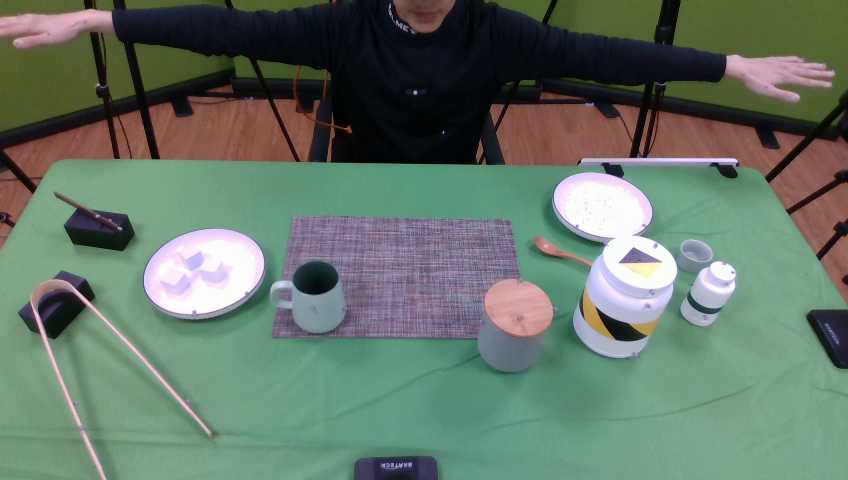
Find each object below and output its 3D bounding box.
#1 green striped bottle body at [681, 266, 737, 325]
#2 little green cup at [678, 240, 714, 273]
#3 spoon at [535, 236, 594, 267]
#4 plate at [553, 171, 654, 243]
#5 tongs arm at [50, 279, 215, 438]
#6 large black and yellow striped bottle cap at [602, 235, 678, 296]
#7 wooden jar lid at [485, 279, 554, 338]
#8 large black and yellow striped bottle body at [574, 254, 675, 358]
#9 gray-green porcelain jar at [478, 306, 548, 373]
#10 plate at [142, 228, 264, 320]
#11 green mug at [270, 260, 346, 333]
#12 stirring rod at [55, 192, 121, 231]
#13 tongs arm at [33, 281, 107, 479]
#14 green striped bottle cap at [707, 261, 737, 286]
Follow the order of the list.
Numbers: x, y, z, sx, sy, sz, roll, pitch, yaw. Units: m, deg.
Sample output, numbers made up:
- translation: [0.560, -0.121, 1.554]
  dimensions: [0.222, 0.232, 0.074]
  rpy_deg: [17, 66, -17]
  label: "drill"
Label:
- translation: [0.507, 0.093, 1.074]
  dimensions: [0.063, 0.120, 0.063]
  rpy_deg: [2, 46, -2]
  label: "green striped bottle body"
- translation: [0.530, 0.033, 1.190]
  dimensions: [0.061, 0.039, 0.061]
  rpy_deg: [2, 46, -1]
  label: "little green cup"
- translation: [0.303, 0.040, 1.178]
  dimensions: [0.193, 0.022, 0.041]
  rpy_deg: [25, 31, 19]
  label: "spoon"
- translation: [0.373, -0.066, 1.275]
  dimensions: [0.209, 0.038, 0.208]
  rpy_deg: [2, 46, -2]
  label: "plate"
- translation: [-0.459, 0.178, 0.949]
  dimensions: [0.386, 0.028, 0.028]
  rpy_deg: [37, 60, 17]
  label: "tongs arm"
- translation: [0.340, 0.037, 0.955]
  dimensions: [0.115, 0.019, 0.114]
  rpy_deg: [2, 47, -1]
  label: "large black and yellow striped bottle cap"
- translation: [0.147, 0.108, 0.940]
  dimensions: [0.108, 0.021, 0.107]
  rpy_deg: [4, 47, -4]
  label: "wooden jar lid"
- translation: [0.335, 0.096, 1.014]
  dimensions: [0.131, 0.185, 0.130]
  rpy_deg: [2, 46, -2]
  label: "large black and yellow striped bottle body"
- translation: [0.144, 0.148, 0.988]
  dimensions: [0.106, 0.127, 0.105]
  rpy_deg: [2, 50, -2]
  label: "gray-green porcelain jar"
- translation: [-0.395, 0.064, 1.095]
  dimensions: [0.208, 0.039, 0.206]
  rpy_deg: [2, 46, -2]
  label: "plate"
- translation: [-0.198, 0.097, 1.026]
  dimensions: [0.125, 0.105, 0.092]
  rpy_deg: [0, 46, -3]
  label: "green mug"
- translation: [-0.632, -0.055, 1.138]
  dimensions: [0.175, 0.014, 0.006]
  rpy_deg: [24, 50, 19]
  label: "stirring rod"
- translation: [-0.517, 0.214, 0.910]
  dimensions: [0.051, 0.026, 0.383]
  rpy_deg: [-29, 63, -27]
  label: "tongs arm"
- translation: [0.510, 0.057, 1.036]
  dimensions: [0.044, 0.020, 0.044]
  rpy_deg: [1, 45, 0]
  label: "green striped bottle cap"
